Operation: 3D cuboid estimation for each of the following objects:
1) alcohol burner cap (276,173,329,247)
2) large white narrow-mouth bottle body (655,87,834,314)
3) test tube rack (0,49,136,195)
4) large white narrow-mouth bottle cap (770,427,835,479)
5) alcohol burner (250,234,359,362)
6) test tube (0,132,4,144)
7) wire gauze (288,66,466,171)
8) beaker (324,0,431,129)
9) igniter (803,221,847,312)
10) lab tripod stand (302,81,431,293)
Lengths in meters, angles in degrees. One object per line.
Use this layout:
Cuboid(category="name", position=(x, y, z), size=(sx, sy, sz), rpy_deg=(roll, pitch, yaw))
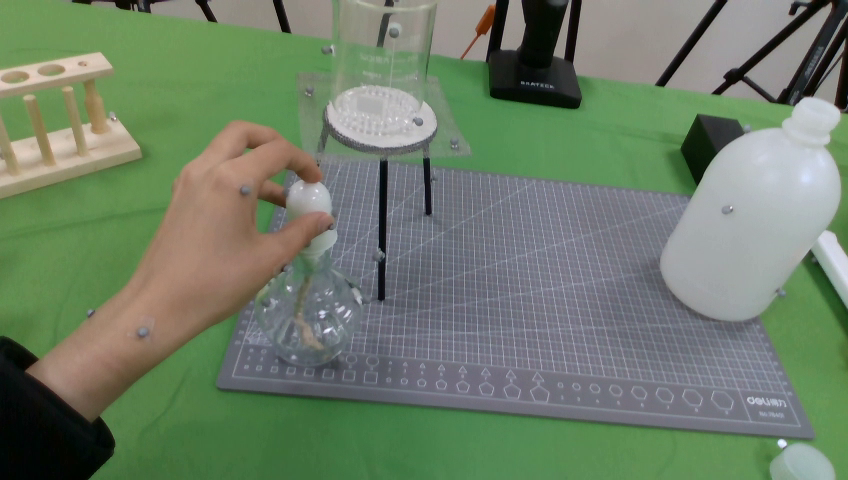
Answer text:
Cuboid(category="alcohol burner cap", position=(-0.075, -0.021, 0.382), size=(0.034, 0.048, 0.033), rpy_deg=(9, 52, -11))
Cuboid(category="large white narrow-mouth bottle body", position=(0.273, -0.034, 0.506), size=(0.102, 0.196, 0.101), rpy_deg=(4, 43, -4))
Cuboid(category="test tube rack", position=(-0.393, -0.089, 0.525), size=(0.243, 0.086, 0.066), rpy_deg=(-26, 53, -32))
Cuboid(category="large white narrow-mouth bottle cap", position=(0.272, 0.157, 0.436), size=(0.038, 0.024, 0.037), rpy_deg=(5, 43, -4))
Cuboid(category="alcohol burner", position=(-0.084, 0.032, 0.430), size=(0.078, 0.120, 0.077), rpy_deg=(7, 42, -6))
Cuboid(category="test tube", position=(-0.384, -0.142, 0.511), size=(0.017, 0.151, 0.017), rpy_deg=(6, 39, -4))
Cuboid(category="wire gauze", position=(-0.040, -0.100, 0.468), size=(0.122, 0.011, 0.123), rpy_deg=(-5, 49, -13))
Cuboid(category="beaker", position=(-0.039, -0.139, 0.436), size=(0.084, 0.101, 0.073), rpy_deg=(1, 45, -9))
Cuboid(category="igniter", position=(0.400, 0.079, 0.537), size=(0.057, 0.025, 0.274), rpy_deg=(15, 42, -10))
Cuboid(category="lab tripod stand", position=(-0.044, -0.051, 0.511), size=(0.149, 0.132, 0.147), rpy_deg=(7, 44, -6))
